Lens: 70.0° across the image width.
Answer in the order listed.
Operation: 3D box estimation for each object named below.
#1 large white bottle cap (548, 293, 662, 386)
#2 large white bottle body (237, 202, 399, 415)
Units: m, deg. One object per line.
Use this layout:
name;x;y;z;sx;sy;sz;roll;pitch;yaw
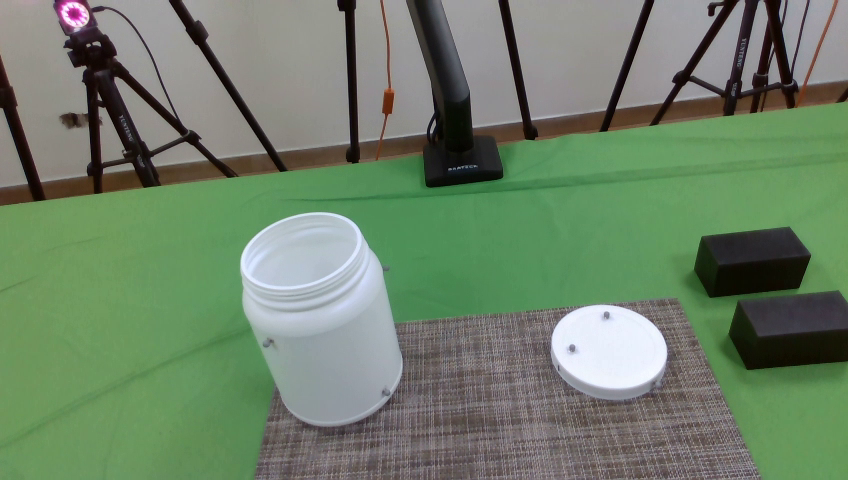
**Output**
large white bottle cap;0.187;0.101;0.631;0.115;0.018;0.113;-4;40;4
large white bottle body;-0.101;0.067;0.591;0.130;0.186;0.129;-5;40;5
